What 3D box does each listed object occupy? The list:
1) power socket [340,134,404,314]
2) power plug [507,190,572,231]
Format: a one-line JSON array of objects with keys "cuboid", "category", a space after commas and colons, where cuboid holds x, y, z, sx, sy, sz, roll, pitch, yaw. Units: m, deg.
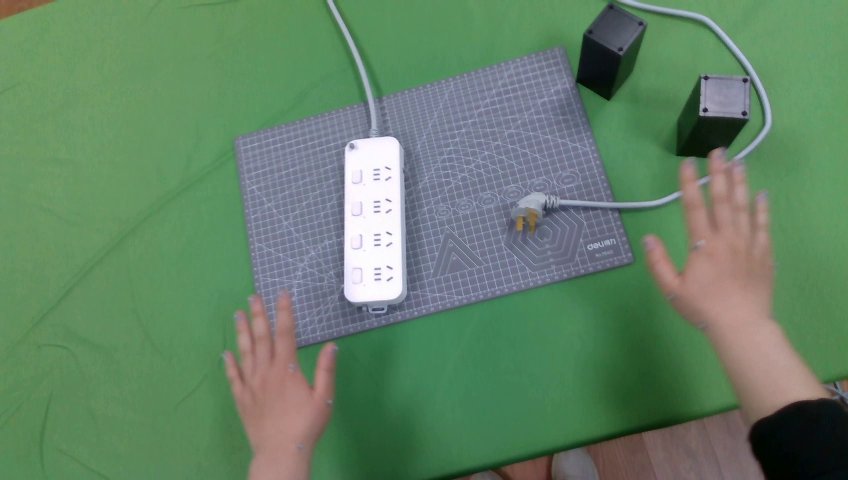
[{"cuboid": [-0.064, -0.025, 0.735, 0.072, 0.033, 0.225, -4, 74, 6], "category": "power socket"}, {"cuboid": [0.132, -0.035, 0.703, 0.072, 0.035, 0.052, -2, 56, 19], "category": "power plug"}]
